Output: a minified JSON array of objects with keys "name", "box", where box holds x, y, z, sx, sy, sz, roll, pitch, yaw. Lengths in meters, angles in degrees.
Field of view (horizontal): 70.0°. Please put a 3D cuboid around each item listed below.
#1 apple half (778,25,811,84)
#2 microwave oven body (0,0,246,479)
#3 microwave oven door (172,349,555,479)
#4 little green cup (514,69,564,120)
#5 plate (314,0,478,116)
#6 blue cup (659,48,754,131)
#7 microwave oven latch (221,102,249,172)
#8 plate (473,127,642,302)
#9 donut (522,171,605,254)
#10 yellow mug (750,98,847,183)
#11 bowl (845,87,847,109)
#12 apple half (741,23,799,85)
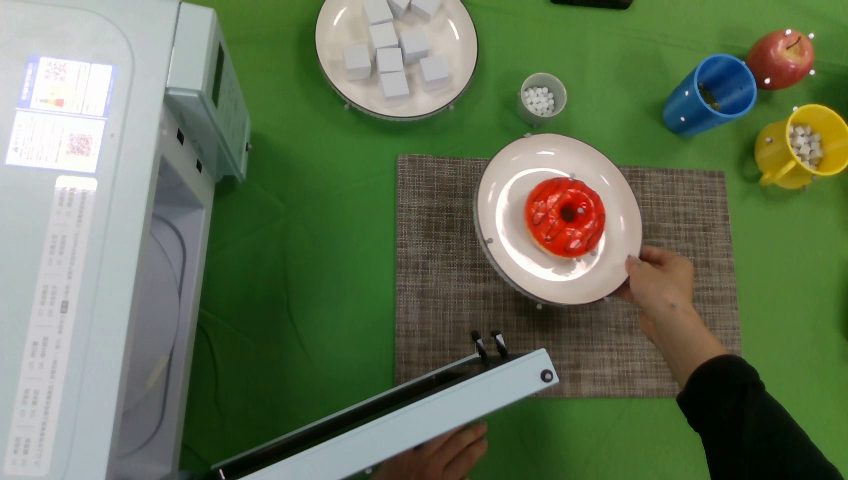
[{"name":"apple half","box":[0.511,-0.254,0.843,0.033,0.081,0.081,7,78,-4]},{"name":"microwave oven body","box":[-0.364,0.021,0.556,0.327,0.260,0.440,5,79,-8]},{"name":"microwave oven door","box":[-0.075,0.181,0.565,0.356,0.244,0.039,-21,82,-12]},{"name":"little green cup","box":[0.148,-0.188,0.794,0.062,0.039,0.061,2,79,-8]},{"name":"plate","box":[-0.035,-0.253,0.778,0.208,0.039,0.206,2,79,-8]},{"name":"blue cup","box":[0.360,-0.188,0.794,0.093,0.100,0.092,2,80,-9]},{"name":"microwave oven latch","box":[-0.221,-0.121,0.704,0.030,0.029,0.079,6,79,-8]},{"name":"plate","box":[0.153,-0.028,0.705,0.210,0.038,0.208,4,74,-14]},{"name":"donut","box":[0.160,-0.032,0.696,0.099,0.048,0.098,4,73,-13]},{"name":"yellow mug","box":[0.500,-0.124,0.821,0.131,0.064,0.100,-41,88,-13]},{"name":"bowl","box":[0.659,-0.211,0.856,0.152,0.077,0.151,2,80,-8]},{"name":"apple half","box":[0.472,-0.258,0.839,0.053,0.075,0.080,7,81,-4]}]
